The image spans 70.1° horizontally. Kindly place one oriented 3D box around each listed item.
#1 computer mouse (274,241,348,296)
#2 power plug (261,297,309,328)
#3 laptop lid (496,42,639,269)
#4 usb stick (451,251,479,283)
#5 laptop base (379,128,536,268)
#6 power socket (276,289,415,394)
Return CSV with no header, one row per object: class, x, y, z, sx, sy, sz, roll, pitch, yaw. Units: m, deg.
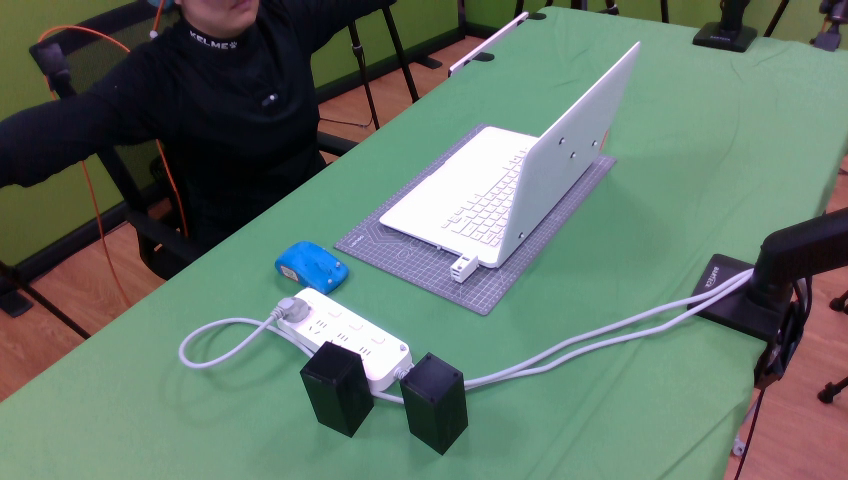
computer mouse,-0.176,0.040,0.936,0.116,0.041,0.063,27,48,27
power plug,-0.193,0.107,0.831,0.073,0.053,0.035,-32,43,-25
laptop lid,0.220,-0.130,0.912,0.013,0.242,0.357,31,51,21
usb stick,0.065,0.036,0.900,0.021,0.027,0.059,24,46,31
laptop base,0.118,-0.088,1.058,0.233,0.023,0.355,19,47,32
power socket,-0.114,0.133,0.820,0.225,0.033,0.072,25,49,33
